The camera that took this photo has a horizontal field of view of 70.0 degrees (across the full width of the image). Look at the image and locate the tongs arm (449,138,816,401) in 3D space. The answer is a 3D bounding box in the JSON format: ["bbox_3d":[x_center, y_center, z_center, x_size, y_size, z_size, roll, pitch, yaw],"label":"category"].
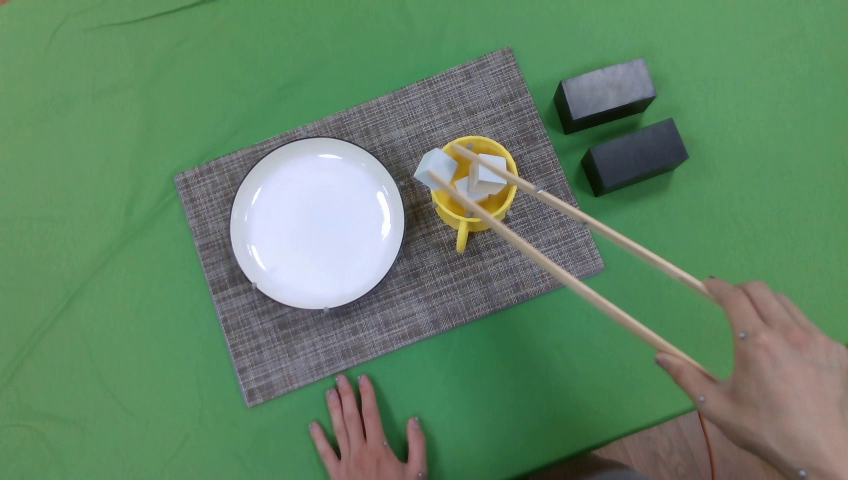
[{"bbox_3d":[0.152,0.007,0.533,0.381,0.027,0.050,34,82,32],"label":"tongs arm"}]

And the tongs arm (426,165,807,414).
[{"bbox_3d":[0.135,0.026,0.532,0.028,0.028,0.383,-47,58,-8],"label":"tongs arm"}]

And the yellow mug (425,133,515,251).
[{"bbox_3d":[0.050,-0.052,0.700,0.100,0.064,0.130,10,82,4],"label":"yellow mug"}]

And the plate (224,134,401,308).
[{"bbox_3d":[-0.129,-0.021,0.720,0.207,0.039,0.207,0,82,3],"label":"plate"}]
